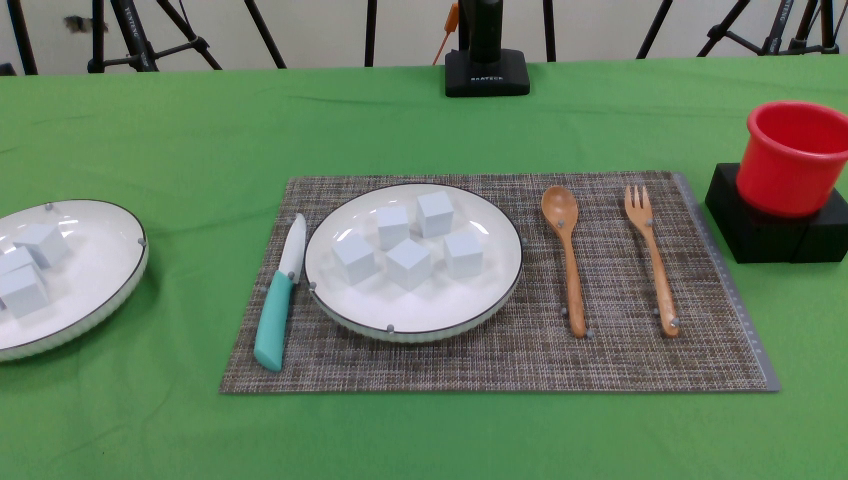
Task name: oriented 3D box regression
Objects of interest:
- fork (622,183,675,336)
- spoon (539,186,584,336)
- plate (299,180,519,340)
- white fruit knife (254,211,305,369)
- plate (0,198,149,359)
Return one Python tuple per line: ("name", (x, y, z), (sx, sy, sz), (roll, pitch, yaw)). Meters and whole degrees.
("fork", (0.221, 0.011, 0.595), (0.028, 0.019, 0.205), (7, 41, 1))
("spoon", (0.139, 0.013, 0.594), (0.042, 0.022, 0.192), (14, 42, -8))
("plate", (-0.014, 0.018, 0.585), (0.207, 0.039, 0.205), (-1, 43, 1))
("white fruit knife", (-0.136, 0.038, 0.588), (0.027, 0.016, 0.205), (20, 38, -18))
("plate", (-0.373, 0.036, 0.588), (0.209, 0.038, 0.207), (-1, 42, 1))
